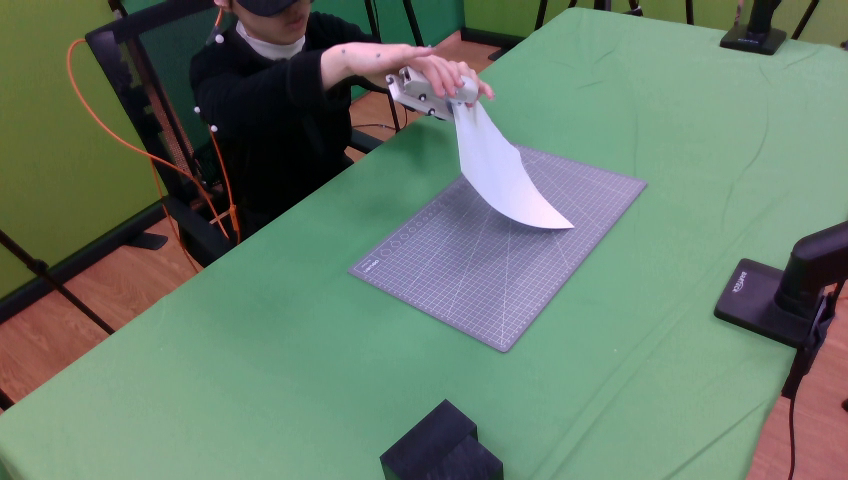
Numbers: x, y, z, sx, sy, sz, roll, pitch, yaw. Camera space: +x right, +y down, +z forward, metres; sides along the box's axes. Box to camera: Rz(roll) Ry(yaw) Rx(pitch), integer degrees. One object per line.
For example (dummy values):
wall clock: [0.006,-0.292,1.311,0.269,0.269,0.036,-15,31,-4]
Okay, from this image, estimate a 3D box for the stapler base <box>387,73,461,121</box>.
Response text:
stapler base: [0.008,-0.193,0.803,0.132,0.024,0.041,7,53,-46]

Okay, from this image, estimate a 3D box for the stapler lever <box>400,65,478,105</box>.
stapler lever: [0.024,-0.205,0.787,0.119,0.040,0.026,7,53,-46]
